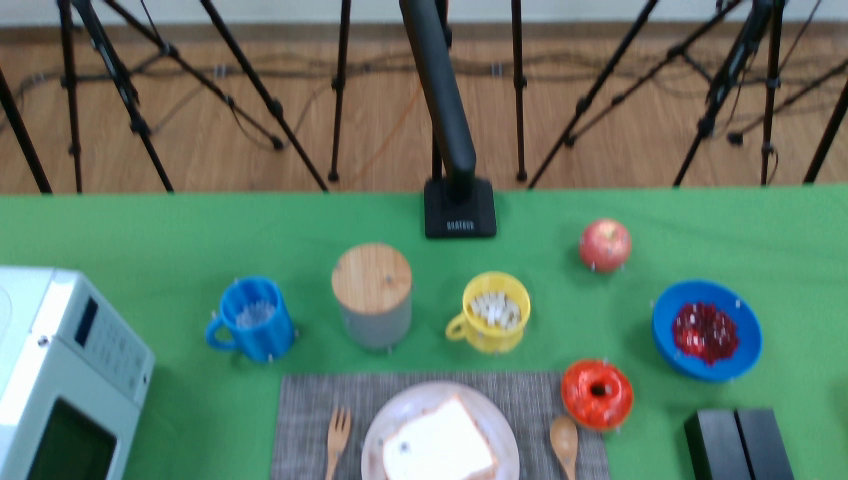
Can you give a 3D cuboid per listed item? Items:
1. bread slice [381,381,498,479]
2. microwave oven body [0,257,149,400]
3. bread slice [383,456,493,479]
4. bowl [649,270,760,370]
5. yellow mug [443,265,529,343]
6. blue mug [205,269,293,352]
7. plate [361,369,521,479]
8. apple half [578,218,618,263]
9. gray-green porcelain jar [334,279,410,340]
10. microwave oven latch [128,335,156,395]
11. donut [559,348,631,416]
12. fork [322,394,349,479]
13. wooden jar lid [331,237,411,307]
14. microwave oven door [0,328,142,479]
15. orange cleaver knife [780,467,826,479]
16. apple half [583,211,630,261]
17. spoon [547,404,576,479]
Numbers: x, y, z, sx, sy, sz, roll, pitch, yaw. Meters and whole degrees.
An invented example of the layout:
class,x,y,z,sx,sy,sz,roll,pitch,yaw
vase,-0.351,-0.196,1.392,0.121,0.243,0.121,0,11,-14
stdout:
class,x,y,z,sx,sy,sz,roll,pitch,yaw
bread slice,0.014,0.259,0.779,0.134,0.018,0.106,-27,59,-18
microwave oven body,-0.552,0.263,0.665,0.326,0.262,0.437,2,58,0
bread slice,0.013,0.277,0.801,0.132,0.019,0.104,-24,62,-17
bowl,0.394,0.127,0.880,0.151,0.077,0.150,0,58,0
yellow mug,0.088,0.101,0.898,0.131,0.064,0.099,-21,61,-13
blue mug,-0.252,0.109,0.863,0.116,0.107,0.081,-23,61,-14
plate,0.022,0.275,0.800,0.208,0.039,0.205,1,58,0
apple half,0.264,0.010,0.952,0.033,0.082,0.080,-28,62,-22
gray-green porcelain jar,-0.072,0.079,0.874,0.106,0.127,0.105,1,58,0
microwave oven latch,-0.397,0.172,0.839,0.030,0.030,0.078,4,59,1
donut,0.238,0.198,0.848,0.099,0.048,0.098,1,59,-1
fork,-0.126,0.303,0.790,0.028,0.019,0.205,11,56,-4
wooden jar lid,-0.072,0.045,0.821,0.108,0.021,0.107,0,56,0
microwave oven door,-0.407,0.302,0.637,0.039,0.246,0.352,2,58,1
orange cleaver knife,0.505,0.391,0.752,0.077,0.012,0.209,4,56,-6
apple half,0.295,-0.008,0.966,0.053,0.075,0.080,-27,58,-23
spoon,0.190,0.311,0.788,0.042,0.022,0.192,11,55,-21
